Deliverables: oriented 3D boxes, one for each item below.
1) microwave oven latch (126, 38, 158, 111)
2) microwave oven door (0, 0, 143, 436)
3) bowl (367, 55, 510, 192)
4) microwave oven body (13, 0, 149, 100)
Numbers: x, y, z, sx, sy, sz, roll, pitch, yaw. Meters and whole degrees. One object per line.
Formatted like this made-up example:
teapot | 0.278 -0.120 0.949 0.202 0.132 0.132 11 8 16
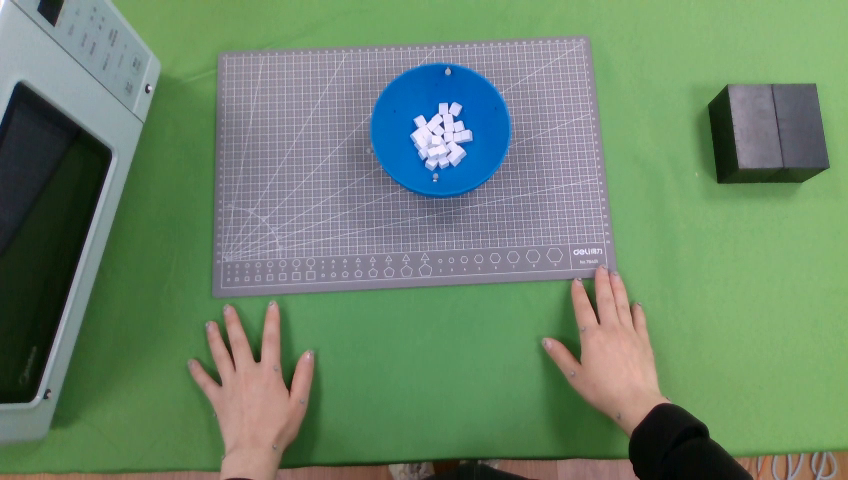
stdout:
microwave oven latch | -0.327 -0.189 0.688 0.030 0.029 0.079 12 79 2
microwave oven door | -0.371 -0.002 0.544 0.039 0.245 0.354 11 78 3
bowl | 0.015 -0.116 0.669 0.151 0.077 0.150 0 78 0
microwave oven body | -0.507 -0.068 0.562 0.326 0.261 0.440 11 79 2
